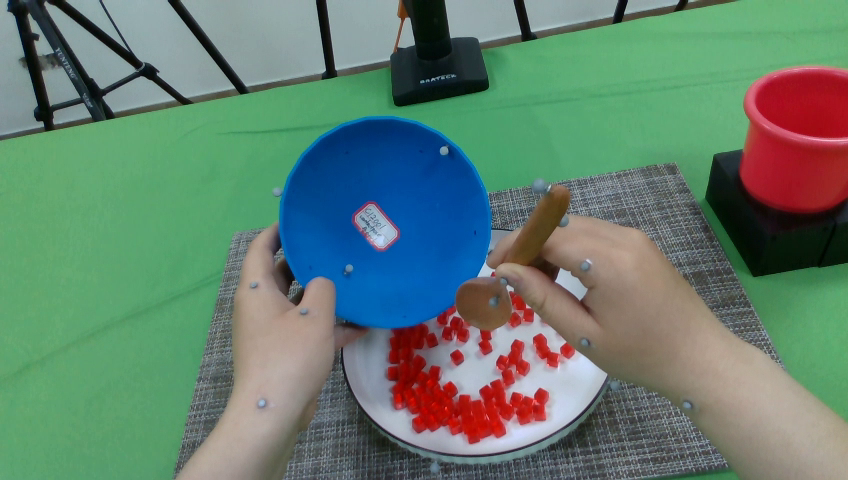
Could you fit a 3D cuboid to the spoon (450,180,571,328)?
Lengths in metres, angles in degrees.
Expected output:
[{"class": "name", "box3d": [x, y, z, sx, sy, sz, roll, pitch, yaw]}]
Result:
[{"class": "spoon", "box3d": [0.046, 0.017, 0.341, 0.041, 0.194, 0.021, 32, 69, 5]}]

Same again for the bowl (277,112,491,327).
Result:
[{"class": "bowl", "box3d": [-0.033, -0.012, 0.455, 0.152, 0.076, 0.151, 1, 86, -12]}]

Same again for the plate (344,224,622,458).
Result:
[{"class": "plate", "box3d": [0.043, 0.072, 0.468, 0.207, 0.039, 0.205, -7, 46, 7]}]
